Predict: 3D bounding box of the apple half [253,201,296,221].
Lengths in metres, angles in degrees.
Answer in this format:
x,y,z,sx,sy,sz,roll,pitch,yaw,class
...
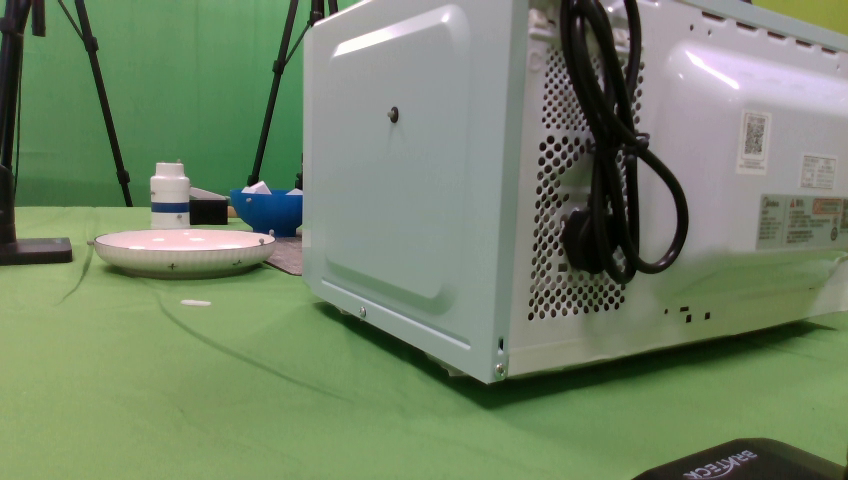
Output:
x,y,z,sx,sy,sz,roll,pitch,yaw,class
-0.264,-0.052,1.067,0.081,0.033,0.081,3,10,0,apple half

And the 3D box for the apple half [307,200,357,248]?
x,y,z,sx,sy,sz,roll,pitch,yaw,class
-0.136,-0.024,0.942,0.053,0.074,0.081,15,10,38,apple half

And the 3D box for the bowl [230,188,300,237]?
x,y,z,sx,sy,sz,roll,pitch,yaw,class
-0.264,-0.048,1.066,0.151,0.077,0.151,2,8,0,bowl

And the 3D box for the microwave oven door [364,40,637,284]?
x,y,z,sx,sy,sz,roll,pitch,yaw,class
0.105,-0.081,0.695,0.358,0.243,0.039,-2,9,-30,microwave oven door

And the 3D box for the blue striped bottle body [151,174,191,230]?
x,y,z,sx,sy,sz,roll,pitch,yaw,class
-0.439,-0.071,1.052,0.063,0.120,0.063,2,8,0,blue striped bottle body

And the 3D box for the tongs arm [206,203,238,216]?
x,y,z,sx,sy,sz,roll,pitch,yaw,class
-0.302,-0.066,1.407,0.389,0.028,0.028,1,4,-15,tongs arm

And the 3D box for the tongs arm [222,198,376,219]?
x,y,z,sx,sy,sz,roll,pitch,yaw,class
-0.309,-0.078,1.487,0.385,0.026,0.051,4,7,-2,tongs arm

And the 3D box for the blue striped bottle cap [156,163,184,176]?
x,y,z,sx,sy,sz,roll,pitch,yaw,class
-0.438,-0.122,1.045,0.044,0.020,0.044,5,6,0,blue striped bottle cap

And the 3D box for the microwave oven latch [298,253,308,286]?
x,y,z,sx,sy,sz,roll,pitch,yaw,class
-0.081,0.027,0.582,0.079,0.029,0.030,-1,7,-32,microwave oven latch

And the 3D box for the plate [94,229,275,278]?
x,y,z,sx,sy,sz,roll,pitch,yaw,class
-0.291,0.016,0.750,0.208,0.039,0.207,2,7,0,plate

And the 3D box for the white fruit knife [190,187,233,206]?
x,y,z,sx,sy,sz,roll,pitch,yaw,class
-0.413,-0.081,1.270,0.208,0.027,0.016,17,13,-42,white fruit knife

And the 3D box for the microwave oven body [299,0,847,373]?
x,y,z,sx,sy,sz,roll,pitch,yaw,class
0.152,-0.055,0.542,0.444,0.260,0.324,-2,7,-33,microwave oven body
